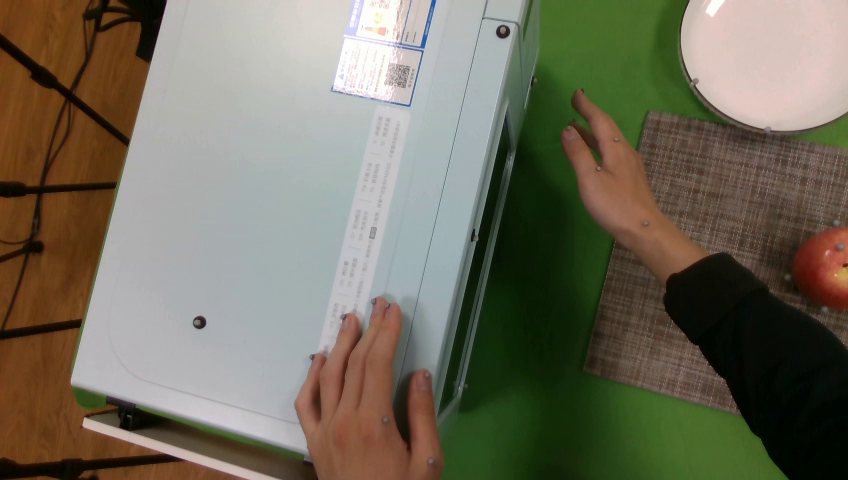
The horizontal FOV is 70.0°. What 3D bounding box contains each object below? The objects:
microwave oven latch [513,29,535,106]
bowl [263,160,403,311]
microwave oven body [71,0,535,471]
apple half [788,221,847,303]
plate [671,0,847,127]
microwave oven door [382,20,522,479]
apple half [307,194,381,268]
[{"bbox_3d":[0.104,-0.190,0.675,0.030,0.029,0.079,13,89,10],"label":"microwave oven latch"},{"bbox_3d":[-0.083,-0.005,0.635,0.151,0.077,0.151,1,94,18],"label":"bowl"},{"bbox_3d":[-0.095,-0.057,0.601,0.325,0.261,0.441,12,88,10],"label":"microwave oven body"},{"bbox_3d":[0.395,0.023,0.604,0.053,0.075,0.080,-7,88,15],"label":"apple half"},{"bbox_3d":[0.371,-0.220,0.649,0.207,0.039,0.207,-1,86,10],"label":"plate"},{"bbox_3d":[0.035,0.014,0.568,0.039,0.245,0.355,12,88,11],"label":"microwave oven door"},{"bbox_3d":[-0.084,-0.006,0.625,0.081,0.032,0.081,1,99,5],"label":"apple half"}]
